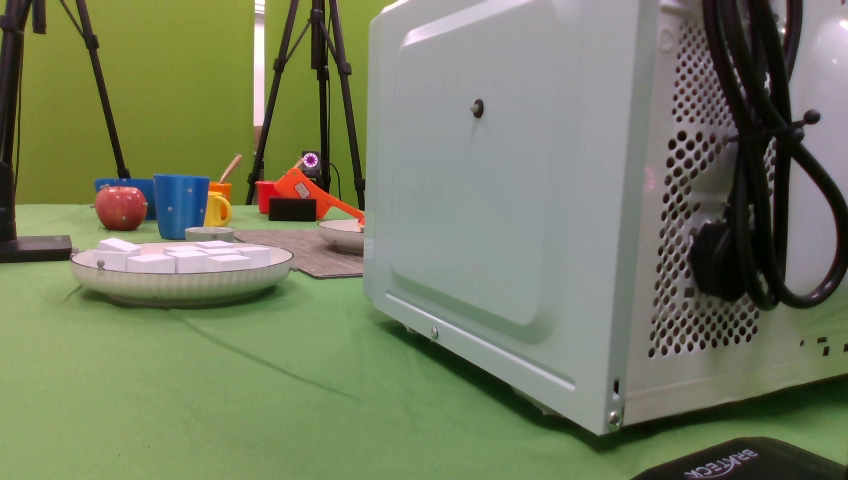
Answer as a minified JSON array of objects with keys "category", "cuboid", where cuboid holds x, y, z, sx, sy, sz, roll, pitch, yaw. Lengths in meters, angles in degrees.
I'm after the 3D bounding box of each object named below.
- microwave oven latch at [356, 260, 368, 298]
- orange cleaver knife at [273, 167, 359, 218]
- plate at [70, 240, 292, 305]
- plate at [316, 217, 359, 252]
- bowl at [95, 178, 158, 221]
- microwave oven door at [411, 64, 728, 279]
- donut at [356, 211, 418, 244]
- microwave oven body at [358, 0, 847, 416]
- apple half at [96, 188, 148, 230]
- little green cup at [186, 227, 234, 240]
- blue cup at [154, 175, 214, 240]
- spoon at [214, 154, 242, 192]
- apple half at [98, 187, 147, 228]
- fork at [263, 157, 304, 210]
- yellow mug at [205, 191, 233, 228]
[{"category":"microwave oven latch","cuboid":[-0.020,0.033,0.530,0.079,0.029,0.030,0,7,-26]},{"category":"orange cleaver knife","cuboid":[-0.238,-0.091,1.381,0.212,0.077,0.012,31,0,-19]},{"category":"plate","cuboid":[-0.242,0.031,0.618,0.208,0.039,0.207,2,8,0]},{"category":"plate","cuboid":[-0.064,-0.007,0.943,0.209,0.038,0.209,3,8,0]},{"category":"bowl","cuboid":[-0.576,-0.081,1.217,0.151,0.077,0.151,3,8,0]},{"category":"microwave oven door","cuboid":[0.165,-0.087,0.733,0.355,0.243,0.039,4,8,10]},{"category":"donut","cuboid":[-0.057,-0.019,0.945,0.099,0.048,0.099,6,7,0]},{"category":"microwave oven body","cuboid":[0.211,-0.047,0.475,0.444,0.260,0.324,-1,8,-28]},{"category":"apple half","cuboid":[-0.517,-0.052,1.036,0.081,0.074,0.053,2,10,-26]},{"category":"little green cup","cuboid":[-0.284,0.005,0.805,0.061,0.038,0.061,2,8,0]},{"category":"blue cup","cuboid":[-0.390,-0.053,0.978,0.093,0.100,0.092,3,6,0]},{"category":"spoon","cuboid":[-0.439,-0.124,1.318,0.041,0.193,0.022,5,-37,16]},{"category":"apple half","cuboid":[-0.534,-0.059,1.071,0.082,0.081,0.032,-1,12,-25]},{"category":"fork","cuboid":[-0.345,-0.143,1.505,0.028,0.019,0.207,-4,46,29]},{"category":"yellow mug","cuboid":[-0.415,-0.057,1.131,0.130,0.064,0.100,6,8,16]}]
